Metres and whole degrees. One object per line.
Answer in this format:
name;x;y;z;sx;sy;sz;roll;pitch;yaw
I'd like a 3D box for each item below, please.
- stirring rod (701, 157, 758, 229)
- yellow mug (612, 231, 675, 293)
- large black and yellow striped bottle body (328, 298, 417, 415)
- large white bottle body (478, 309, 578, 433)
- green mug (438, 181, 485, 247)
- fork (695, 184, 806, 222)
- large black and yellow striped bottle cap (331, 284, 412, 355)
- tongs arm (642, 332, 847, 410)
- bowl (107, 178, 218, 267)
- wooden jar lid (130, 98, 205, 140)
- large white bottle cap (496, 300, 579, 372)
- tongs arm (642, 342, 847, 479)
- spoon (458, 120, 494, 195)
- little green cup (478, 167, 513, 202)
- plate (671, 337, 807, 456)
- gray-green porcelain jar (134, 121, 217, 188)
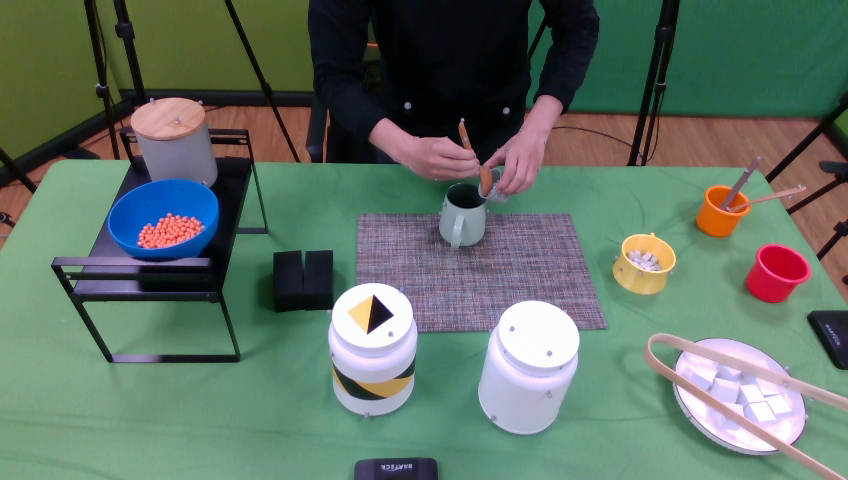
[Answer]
stirring rod;0.634;-0.097;1.257;0.014;0.006;0.176;38;97;30
yellow mug;0.424;0.033;1.168;0.100;0.064;0.130;18;46;14
large black and yellow striped bottle body;-0.078;0.167;0.920;0.131;0.185;0.130;2;46;-2
large white bottle body;0.155;0.192;0.913;0.131;0.185;0.130;2;46;-2
green mug;0.071;-0.039;1.177;0.092;0.105;0.124;12;47;7
fork;0.658;-0.074;1.230;0.207;0.019;0.028;-23;35;37
large black and yellow striped bottle cap;-0.073;0.111;0.858;0.115;0.019;0.114;2;46;-2
tongs arm;0.546;0.227;0.968;0.384;0.026;0.050;22;52;13
bowl;-0.374;-0.014;0.893;0.151;0.077;0.150;2;46;-2
wooden jar lid;-0.393;-0.183;0.934;0.108;0.021;0.107;2;44;-2
large white bottle cap;0.160;0.133;0.852;0.115;0.018;0.114;3;46;-3
tongs arm;0.504;0.279;0.918;0.386;0.028;0.028;33;59;22
spoon;0.088;-0.140;1.052;0.021;0.195;0.041;20;69;36
little green cup;0.134;-0.101;1.127;0.039;0.061;0.061;25;36;-33
plate;0.504;0.254;0.984;0.208;0.039;0.206;2;46;-2
gray-green porcelain jar;-0.396;-0.141;0.979;0.106;0.127;0.105;2;47;-2
